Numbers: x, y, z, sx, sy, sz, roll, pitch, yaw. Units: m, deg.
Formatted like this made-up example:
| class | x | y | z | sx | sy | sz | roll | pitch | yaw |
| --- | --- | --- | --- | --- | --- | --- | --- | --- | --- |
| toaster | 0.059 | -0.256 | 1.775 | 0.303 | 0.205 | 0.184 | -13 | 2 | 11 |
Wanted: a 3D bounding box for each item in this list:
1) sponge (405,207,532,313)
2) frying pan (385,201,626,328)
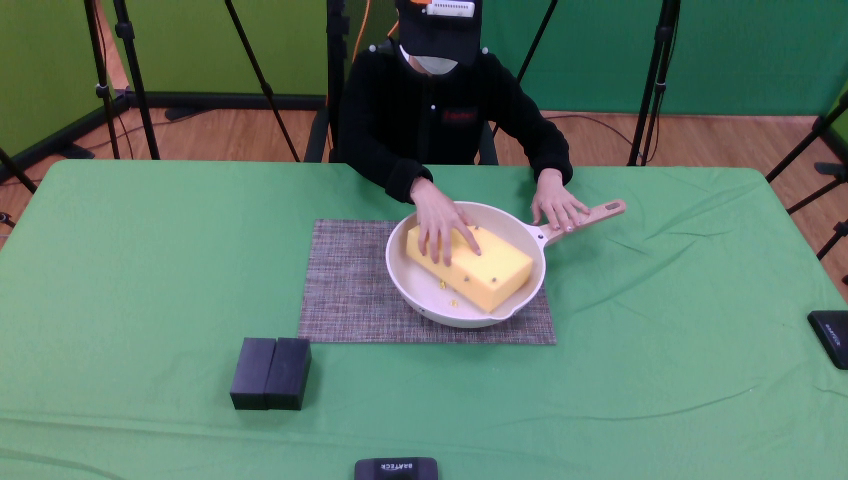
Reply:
| class | x | y | z | sx | sy | sz | roll | pitch | yaw |
| --- | --- | --- | --- | --- | --- | --- | --- | --- | --- |
| sponge | 0.079 | 0.032 | 1.126 | 0.206 | 0.061 | 0.118 | 34 | 48 | 26 |
| frying pan | 0.169 | 0.014 | 1.138 | 0.488 | 0.103 | 0.304 | -19 | 51 | -11 |
